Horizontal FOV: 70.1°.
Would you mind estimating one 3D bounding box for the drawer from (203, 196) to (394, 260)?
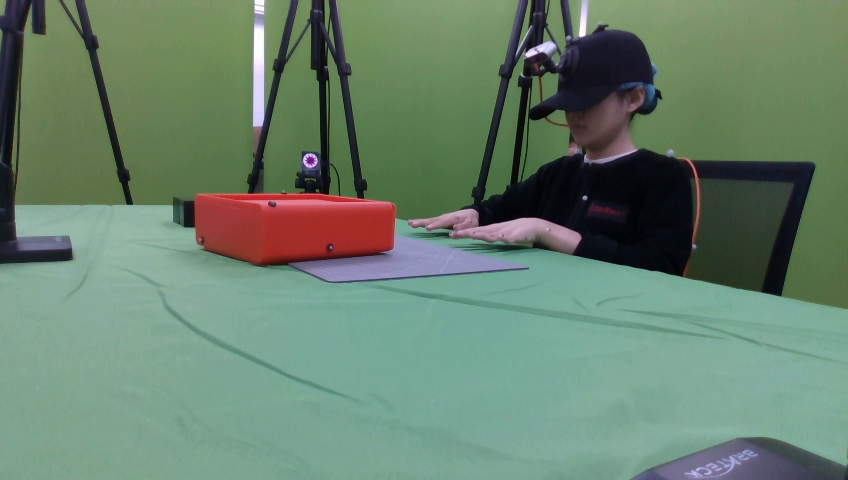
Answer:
[{"bbox_3d":[-0.184,-0.023,0.887,0.213,0.073,0.193,-5,11,-43],"label":"drawer"}]

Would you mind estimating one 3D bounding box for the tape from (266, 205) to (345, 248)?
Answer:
[{"bbox_3d":[-0.178,-0.021,0.904,0.117,0.052,0.117,5,6,0],"label":"tape"}]

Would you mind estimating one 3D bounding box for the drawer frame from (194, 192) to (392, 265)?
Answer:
[{"bbox_3d":[-0.190,-0.024,0.882,0.215,0.082,0.200,-5,11,-44],"label":"drawer frame"}]
